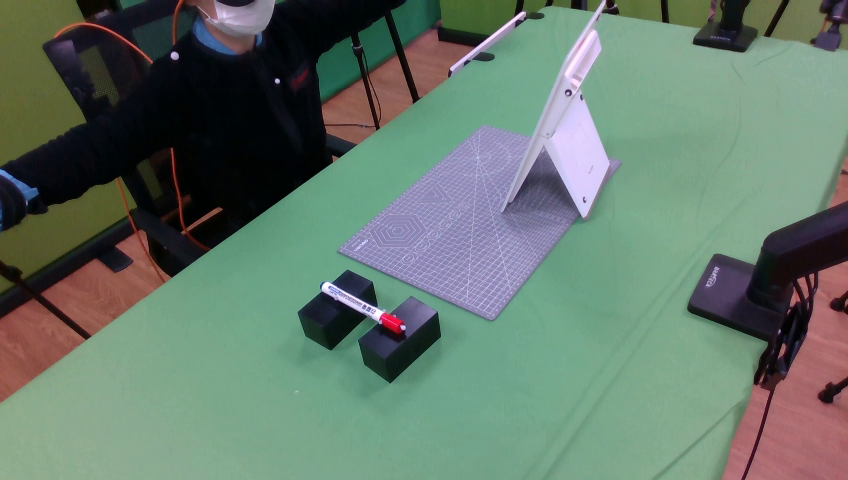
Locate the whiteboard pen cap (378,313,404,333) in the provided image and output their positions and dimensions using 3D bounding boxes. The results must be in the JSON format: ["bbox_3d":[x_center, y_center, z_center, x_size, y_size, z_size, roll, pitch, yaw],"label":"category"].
[{"bbox_3d":[-0.043,0.106,0.777,0.032,0.017,0.017,23,49,33],"label":"whiteboard pen cap"}]

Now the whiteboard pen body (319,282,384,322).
[{"bbox_3d":[-0.088,0.086,0.807,0.139,0.017,0.017,23,49,32],"label":"whiteboard pen body"}]

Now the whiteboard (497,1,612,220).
[{"bbox_3d":[0.260,-0.178,0.963,0.143,0.306,0.217,28,49,9],"label":"whiteboard"}]
